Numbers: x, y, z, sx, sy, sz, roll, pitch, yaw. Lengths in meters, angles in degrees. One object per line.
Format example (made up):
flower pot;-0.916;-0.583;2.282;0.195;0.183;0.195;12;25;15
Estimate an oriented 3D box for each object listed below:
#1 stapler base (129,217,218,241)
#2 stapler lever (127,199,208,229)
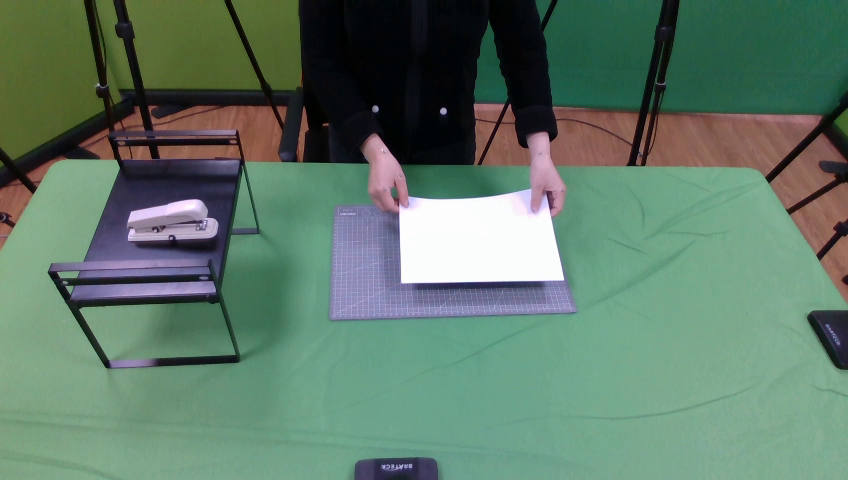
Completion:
stapler base;-0.390;-0.023;0.940;0.131;0.024;0.041;-4;43;-6
stapler lever;-0.391;-0.039;0.922;0.118;0.040;0.026;-3;43;-6
